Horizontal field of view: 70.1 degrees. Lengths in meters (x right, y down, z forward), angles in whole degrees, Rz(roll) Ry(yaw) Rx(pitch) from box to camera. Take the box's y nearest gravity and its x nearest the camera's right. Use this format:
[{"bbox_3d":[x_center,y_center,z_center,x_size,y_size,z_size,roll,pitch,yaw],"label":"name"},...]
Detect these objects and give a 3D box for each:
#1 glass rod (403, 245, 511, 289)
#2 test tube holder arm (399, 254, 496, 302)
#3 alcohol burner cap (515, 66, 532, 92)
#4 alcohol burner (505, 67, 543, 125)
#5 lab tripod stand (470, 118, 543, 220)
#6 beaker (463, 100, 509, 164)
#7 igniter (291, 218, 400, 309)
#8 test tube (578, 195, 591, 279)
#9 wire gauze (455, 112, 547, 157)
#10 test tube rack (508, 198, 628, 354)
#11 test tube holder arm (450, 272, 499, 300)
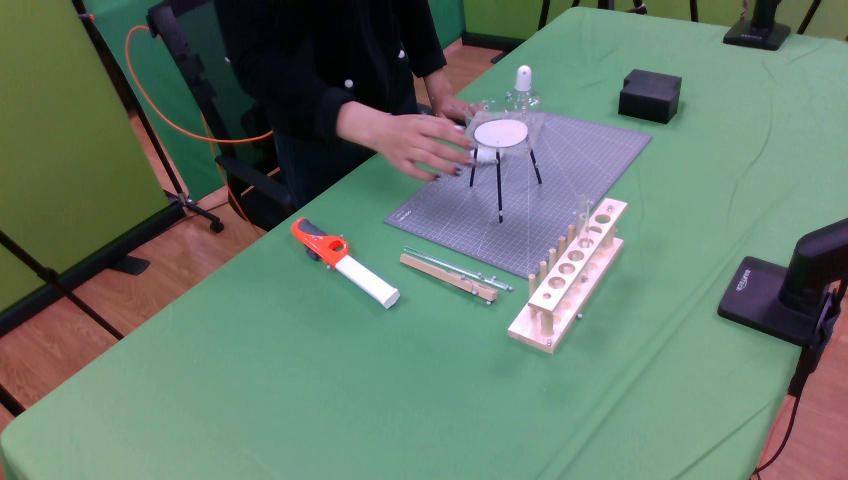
[{"bbox_3d":[0.047,0.040,0.939,0.198,0.008,0.008,21,49,30],"label":"glass rod"},{"bbox_3d":[0.032,0.054,0.914,0.177,0.015,0.013,21,16,32],"label":"test tube holder arm"},{"bbox_3d":[0.198,-0.320,1.192,0.034,0.048,0.033,0,47,1],"label":"alcohol burner cap"},{"bbox_3d":[0.201,-0.293,1.216,0.078,0.119,0.077,-4,41,4],"label":"alcohol burner"},{"bbox_3d":[0.135,-0.128,1.019,0.148,0.132,0.147,-5,38,5],"label":"lab tripod stand"},{"bbox_3d":[0.120,-0.200,1.134,0.083,0.101,0.074,5,43,16],"label":"beaker"},{"bbox_3d":[-0.136,0.031,0.970,0.057,0.025,0.274,-41,49,-19],"label":"igniter"},{"bbox_3d":[0.217,0.000,0.816,0.017,0.151,0.017,-8,43,8],"label":"test tube"},{"bbox_3d":[0.125,-0.176,0.973,0.124,0.011,0.121,10,42,22],"label":"wire gauze"},{"bbox_3d":[0.206,0.039,0.850,0.066,0.085,0.243,20,48,31],"label":"test tube rack"},{"bbox_3d":[0.071,0.068,0.895,0.087,0.015,0.010,21,16,32],"label":"test tube holder arm"}]
